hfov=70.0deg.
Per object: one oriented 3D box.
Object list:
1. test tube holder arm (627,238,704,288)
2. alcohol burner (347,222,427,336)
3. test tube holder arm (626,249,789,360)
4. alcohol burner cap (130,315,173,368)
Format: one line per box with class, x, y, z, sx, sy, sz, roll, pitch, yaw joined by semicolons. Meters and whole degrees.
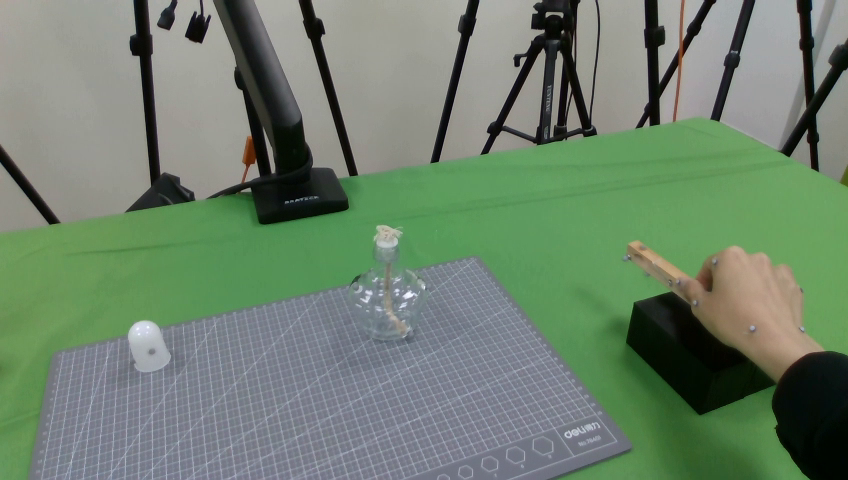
test tube holder arm;0.227;0.023;0.574;0.015;0.010;0.087;-15;35;-20
alcohol burner;-0.035;0.033;0.583;0.078;0.120;0.077;1;33;0
test tube holder arm;0.245;0.050;0.542;0.015;0.013;0.176;-15;34;-20
alcohol burner cap;-0.256;0.092;0.562;0.034;0.048;0.033;-1;33;1
